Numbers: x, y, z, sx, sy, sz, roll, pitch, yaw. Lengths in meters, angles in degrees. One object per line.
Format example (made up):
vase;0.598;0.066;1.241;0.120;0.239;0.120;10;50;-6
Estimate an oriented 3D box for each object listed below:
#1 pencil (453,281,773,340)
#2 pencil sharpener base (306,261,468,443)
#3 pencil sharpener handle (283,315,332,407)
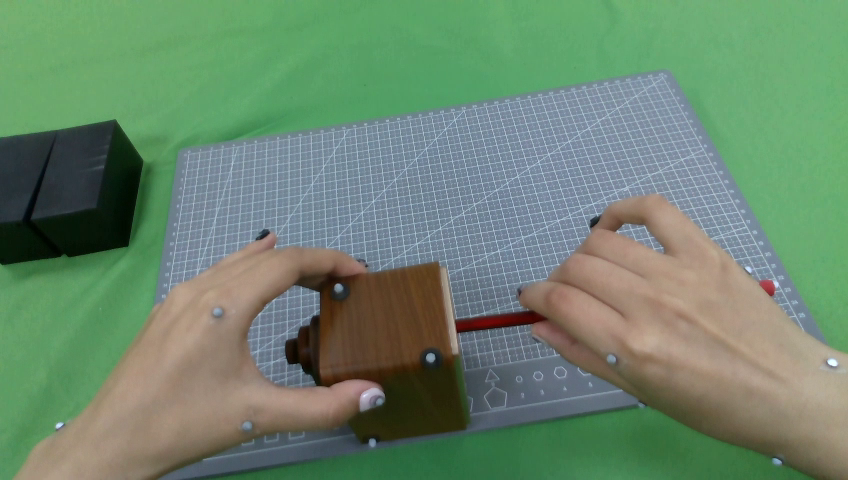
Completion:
pencil;0.086;0.040;0.323;0.194;0.012;0.012;-8;53;2
pencil sharpener base;-0.018;0.069;0.350;0.077;0.108;0.060;-9;54;2
pencil sharpener handle;-0.070;0.072;0.339;0.030;0.068;0.035;-9;43;2
